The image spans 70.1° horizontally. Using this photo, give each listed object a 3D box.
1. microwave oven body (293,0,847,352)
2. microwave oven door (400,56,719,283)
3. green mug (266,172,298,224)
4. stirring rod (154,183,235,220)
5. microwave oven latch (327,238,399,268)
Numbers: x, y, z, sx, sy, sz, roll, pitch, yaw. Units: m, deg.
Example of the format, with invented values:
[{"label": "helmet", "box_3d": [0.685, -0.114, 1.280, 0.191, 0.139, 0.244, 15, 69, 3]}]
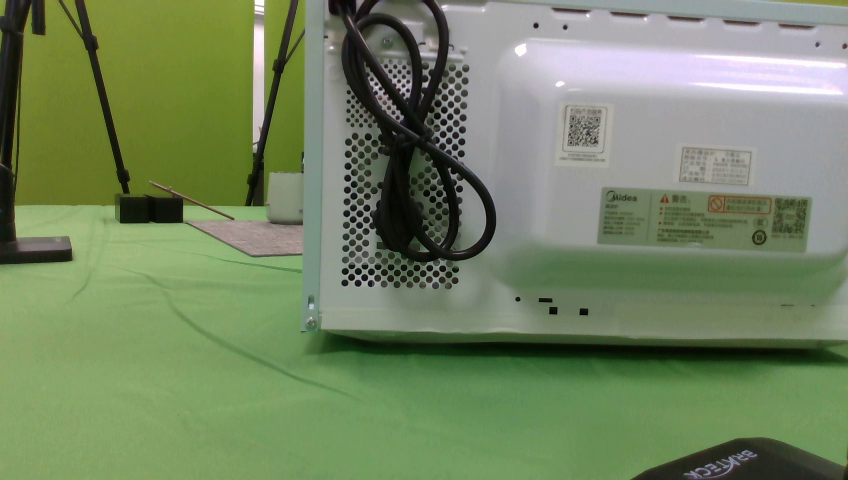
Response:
[{"label": "microwave oven body", "box_3d": [0.122, -0.055, 0.550, 0.442, 0.260, 0.325, 3, 7, -5]}, {"label": "microwave oven door", "box_3d": [0.155, -0.077, 0.698, 0.356, 0.243, 0.039, 2, 8, -5]}, {"label": "green mug", "box_3d": [-0.272, -0.089, 1.271, 0.092, 0.105, 0.126, 7, 8, 33]}, {"label": "stirring rod", "box_3d": [-0.472, -0.079, 1.252, 0.177, 0.006, 0.014, 27, 4, -35]}, {"label": "microwave oven latch", "box_3d": [-0.069, 0.015, 0.694, 0.079, 0.029, 0.030, 3, 7, -3]}]
